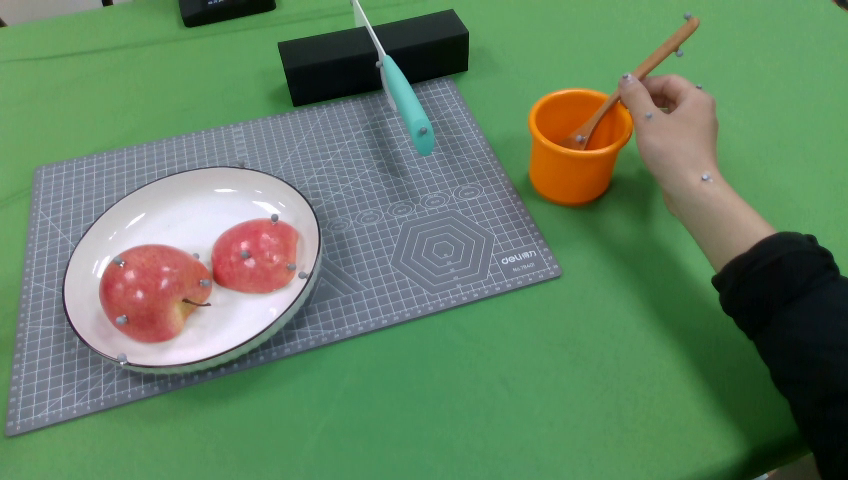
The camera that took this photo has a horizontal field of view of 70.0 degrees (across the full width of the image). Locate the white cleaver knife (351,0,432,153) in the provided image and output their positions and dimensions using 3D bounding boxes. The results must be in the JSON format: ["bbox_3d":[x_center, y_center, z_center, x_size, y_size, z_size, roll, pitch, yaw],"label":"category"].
[{"bbox_3d":[-0.040,-0.181,0.651,0.021,0.066,0.283,-18,49,-6],"label":"white cleaver knife"}]

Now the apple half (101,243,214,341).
[{"bbox_3d":[-0.218,0.033,0.485,0.074,0.054,0.080,20,55,21],"label":"apple half"}]

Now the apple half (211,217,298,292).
[{"bbox_3d":[-0.147,0.006,0.516,0.081,0.033,0.080,0,54,1],"label":"apple half"}]

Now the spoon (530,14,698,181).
[{"bbox_3d":[0.170,-0.126,0.550,0.022,0.194,0.041,15,35,-46],"label":"spoon"}]

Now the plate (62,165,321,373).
[{"bbox_3d":[-0.189,0.021,0.513,0.209,0.038,0.207,-1,52,1],"label":"plate"}]
